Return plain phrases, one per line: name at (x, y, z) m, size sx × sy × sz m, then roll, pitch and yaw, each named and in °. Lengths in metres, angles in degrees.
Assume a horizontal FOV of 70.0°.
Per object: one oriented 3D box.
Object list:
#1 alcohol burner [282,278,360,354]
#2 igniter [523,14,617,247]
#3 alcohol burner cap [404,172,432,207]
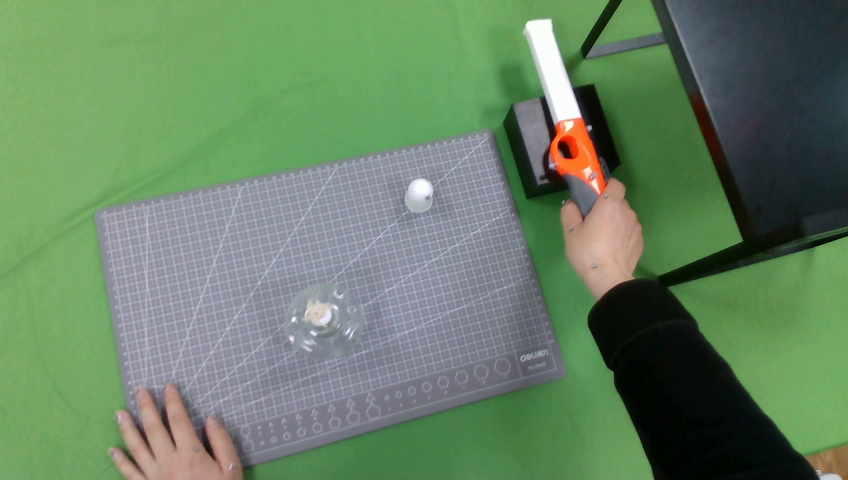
alcohol burner at (-0.102, 0.073, 0.594) m, size 0.078 × 0.119 × 0.077 m, roll 1°, pitch 78°, yaw -5°
igniter at (0.159, -0.125, 0.664) m, size 0.057 × 0.025 × 0.275 m, roll -10°, pitch 76°, yaw -12°
alcohol burner cap at (-0.005, -0.058, 0.670) m, size 0.034 × 0.048 × 0.033 m, roll 1°, pitch 78°, yaw -5°
